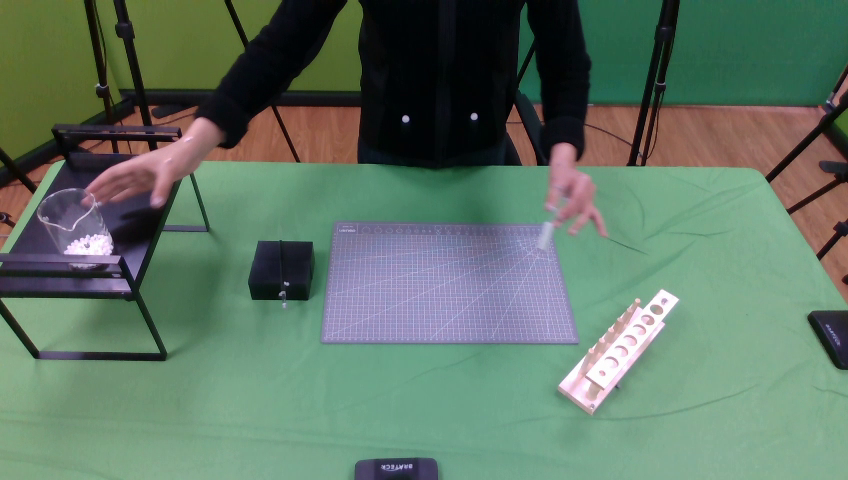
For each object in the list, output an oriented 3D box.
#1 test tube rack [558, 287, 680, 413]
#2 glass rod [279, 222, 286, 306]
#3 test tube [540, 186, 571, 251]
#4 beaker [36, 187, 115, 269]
[{"bbox_3d":[0.327,0.170,1.009,0.066,0.085,0.242,36,54,27],"label":"test tube rack"},{"bbox_3d":[-0.254,0.039,1.081,0.008,0.008,0.198,-6,47,-9],"label":"glass rod"},{"bbox_3d":[0.209,-0.031,0.973,0.017,0.151,0.017,3,52,-3],"label":"test tube"},{"bbox_3d":[-0.493,-0.012,0.867,0.074,0.101,0.083,-18,50,-18],"label":"beaker"}]
